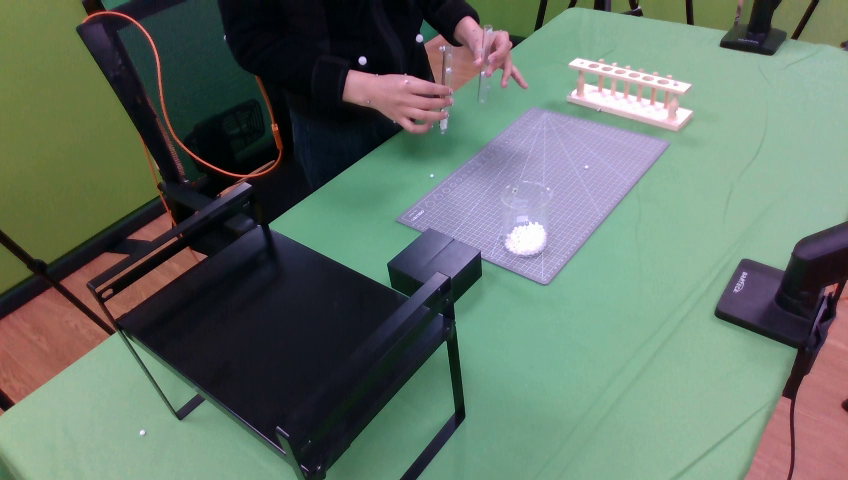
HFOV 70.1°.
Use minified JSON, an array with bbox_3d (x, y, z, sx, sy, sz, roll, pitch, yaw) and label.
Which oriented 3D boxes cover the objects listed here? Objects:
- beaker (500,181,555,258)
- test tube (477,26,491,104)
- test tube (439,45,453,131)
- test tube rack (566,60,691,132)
[{"bbox_3d":[0.158,-0.030,0.922,0.084,0.100,0.073,-13,41,-8],"label":"beaker"},{"bbox_3d":[0.106,-0.308,1.077,0.017,0.151,0.017,1,45,0],"label":"test tube"},{"bbox_3d":[0.036,-0.255,1.026,0.017,0.150,0.017,2,36,-1],"label":"test tube"},{"bbox_3d":[0.411,-0.299,1.217,0.240,0.085,0.067,26,51,33],"label":"test tube rack"}]
